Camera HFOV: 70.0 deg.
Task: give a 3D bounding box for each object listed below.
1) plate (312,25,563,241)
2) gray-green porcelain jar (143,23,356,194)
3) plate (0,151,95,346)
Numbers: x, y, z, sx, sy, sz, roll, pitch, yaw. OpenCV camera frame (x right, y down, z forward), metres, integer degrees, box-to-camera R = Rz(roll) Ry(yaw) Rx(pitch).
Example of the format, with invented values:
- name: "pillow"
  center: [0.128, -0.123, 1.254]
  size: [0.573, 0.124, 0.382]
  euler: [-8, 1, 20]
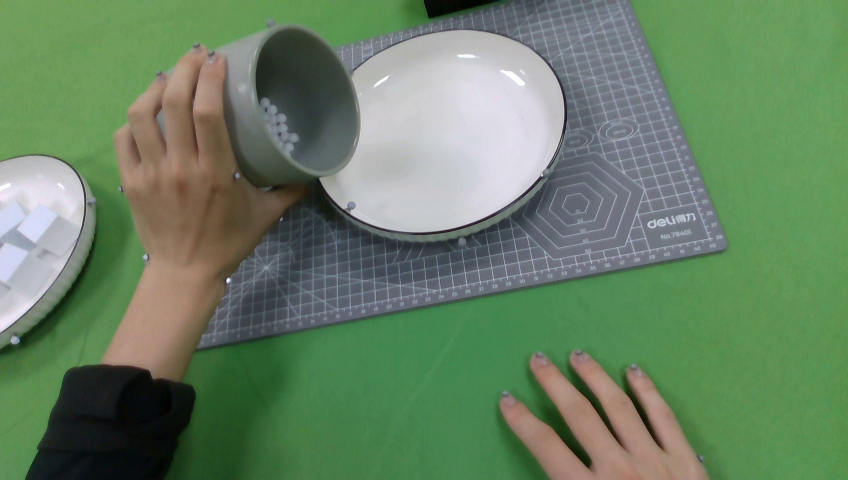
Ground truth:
- name: "plate"
  center: [0.008, -0.087, 0.493]
  size: [0.209, 0.038, 0.207]
  euler: [-7, 60, 12]
- name: "gray-green porcelain jar"
  center: [-0.132, -0.091, 0.449]
  size: [0.126, 0.107, 0.105]
  euler: [-6, 58, 33]
- name: "plate"
  center: [-0.387, 0.014, 0.546]
  size: [0.207, 0.039, 0.206]
  euler: [-6, 60, 12]
